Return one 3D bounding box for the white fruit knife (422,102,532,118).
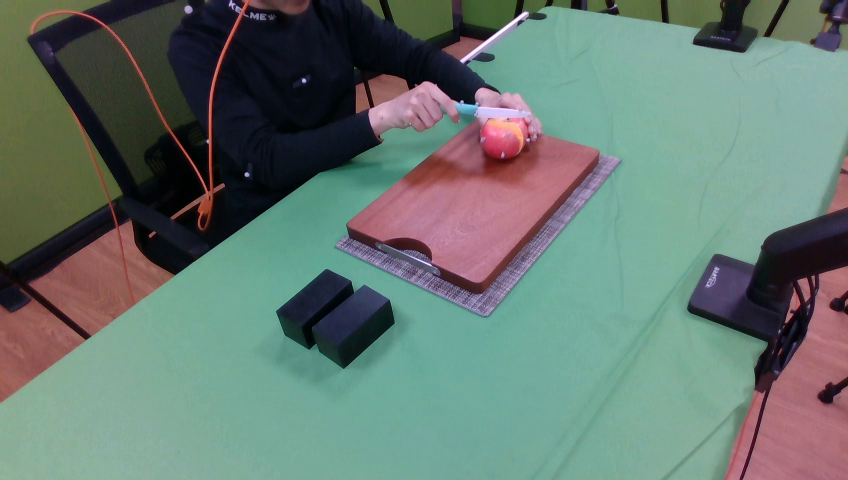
[{"bbox_3d":[0.089,-0.226,1.058,0.206,0.027,0.016,8,53,23],"label":"white fruit knife"}]

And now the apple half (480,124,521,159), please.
[{"bbox_3d":[0.129,-0.165,1.062,0.081,0.082,0.033,17,60,26],"label":"apple half"}]

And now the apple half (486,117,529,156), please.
[{"bbox_3d":[0.154,-0.195,1.090,0.080,0.075,0.053,13,41,27],"label":"apple half"}]
